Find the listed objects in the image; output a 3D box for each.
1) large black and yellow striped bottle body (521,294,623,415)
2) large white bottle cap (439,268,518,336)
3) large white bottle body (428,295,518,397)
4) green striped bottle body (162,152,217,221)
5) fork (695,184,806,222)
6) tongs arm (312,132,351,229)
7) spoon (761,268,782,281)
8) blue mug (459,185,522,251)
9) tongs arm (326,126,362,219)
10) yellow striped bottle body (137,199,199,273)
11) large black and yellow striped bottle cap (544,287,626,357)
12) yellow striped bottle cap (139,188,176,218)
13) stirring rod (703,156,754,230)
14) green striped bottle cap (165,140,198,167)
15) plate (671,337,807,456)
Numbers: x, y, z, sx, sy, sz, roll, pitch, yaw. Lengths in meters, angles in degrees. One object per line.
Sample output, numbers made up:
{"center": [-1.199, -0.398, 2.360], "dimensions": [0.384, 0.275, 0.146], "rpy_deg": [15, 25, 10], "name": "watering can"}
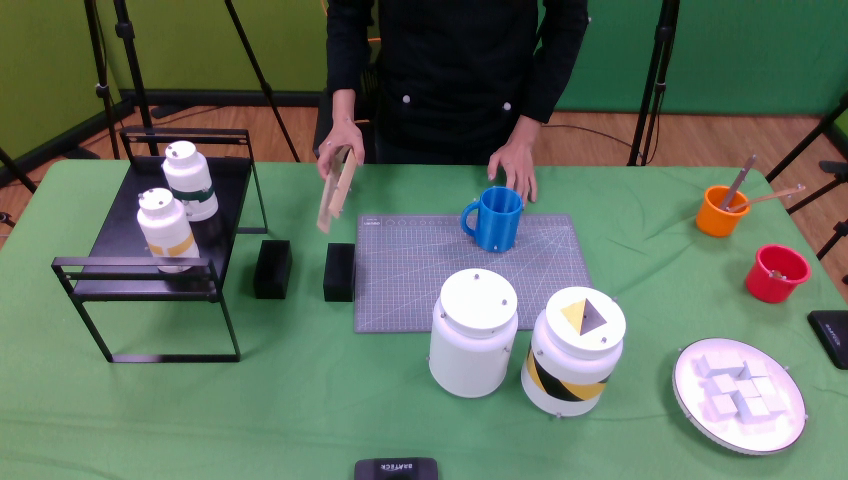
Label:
{"center": [0.228, 0.173, 0.938], "dimensions": [0.131, 0.185, 0.130], "rpy_deg": [2, 47, -2], "name": "large black and yellow striped bottle body"}
{"center": [0.080, 0.089, 0.888], "dimensions": [0.115, 0.018, 0.114], "rpy_deg": [2, 47, -2], "name": "large white bottle cap"}
{"center": [0.076, 0.147, 0.950], "dimensions": [0.131, 0.185, 0.130], "rpy_deg": [2, 46, -2], "name": "large white bottle body"}
{"center": [-0.363, -0.092, 0.939], "dimensions": [0.063, 0.120, 0.063], "rpy_deg": [2, 46, -2], "name": "green striped bottle body"}
{"center": [0.657, -0.075, 1.230], "dimensions": [0.207, 0.019, 0.028], "rpy_deg": [-23, 34, 37], "name": "fork"}
{"center": [-0.178, -0.127, 1.187], "dimensions": [0.028, 0.028, 0.385], "rpy_deg": [41, 23, -21], "name": "tongs arm"}
{"center": [0.638, 0.060, 1.105], "dimensions": [0.041, 0.021, 0.194], "rpy_deg": [38, 11, 24], "name": "spoon"}
{"center": [0.127, -0.042, 1.185], "dimensions": [0.116, 0.106, 0.082], "rpy_deg": [0, 47, -4], "name": "blue mug"}
{"center": [-0.160, -0.139, 1.179], "dimensions": [0.026, 0.051, 0.382], "rpy_deg": [44, 27, -23], "name": "tongs arm"}
{"center": [-0.366, -0.014, 0.864], "dimensions": [0.063, 0.121, 0.062], "rpy_deg": [2, 46, -2], "name": "yellow striped bottle body"}
{"center": [0.232, 0.116, 0.876], "dimensions": [0.115, 0.019, 0.114], "rpy_deg": [2, 46, -1], "name": "large black and yellow striped bottle cap"}
{"center": [-0.363, -0.051, 0.826], "dimensions": [0.044, 0.019, 0.044], "rpy_deg": [1, 47, -1], "name": "yellow striped bottle cap"}
{"center": [0.631, -0.098, 1.258], "dimensions": [0.014, 0.006, 0.176], "rpy_deg": [33, 95, 29], "name": "stirring rod"}
{"center": [-0.361, -0.129, 0.902], "dimensions": [0.044, 0.020, 0.044], "rpy_deg": [3, 47, -3], "name": "green striped bottle cap"}
{"center": [0.503, 0.254, 0.984], "dimensions": [0.208, 0.039, 0.206], "rpy_deg": [2, 46, -2], "name": "plate"}
